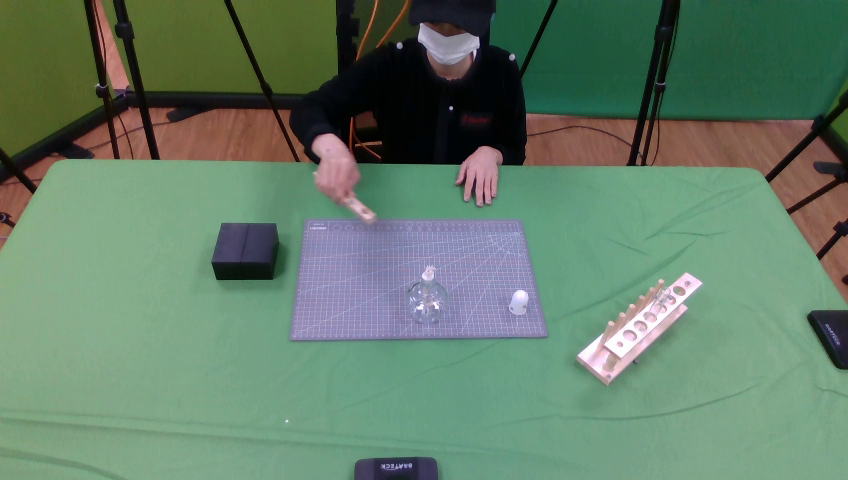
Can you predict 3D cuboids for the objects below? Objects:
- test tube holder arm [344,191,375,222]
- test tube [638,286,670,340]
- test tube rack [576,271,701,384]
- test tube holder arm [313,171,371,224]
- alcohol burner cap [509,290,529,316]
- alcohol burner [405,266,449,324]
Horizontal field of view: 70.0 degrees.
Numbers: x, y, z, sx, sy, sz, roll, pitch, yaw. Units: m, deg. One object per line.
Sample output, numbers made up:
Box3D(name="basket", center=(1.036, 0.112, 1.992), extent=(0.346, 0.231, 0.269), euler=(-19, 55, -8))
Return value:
Box3D(name="test tube holder arm", center=(-0.115, -0.059, 1.056), extent=(0.010, 0.015, 0.087), euler=(-34, 51, -24))
Box3D(name="test tube", center=(0.373, 0.122, 0.994), extent=(0.017, 0.151, 0.017), euler=(0, 51, 0))
Box3D(name="test tube rack", center=(0.373, 0.138, 1.047), extent=(0.242, 0.085, 0.066), euler=(-31, 56, -29))
Box3D(name="test tube holder arm", center=(-0.149, -0.078, 1.080), extent=(0.013, 0.015, 0.177), euler=(-34, 51, -23))
Box3D(name="alcohol burner cap", center=(0.171, 0.110, 1.086), extent=(0.034, 0.048, 0.033), euler=(2, 45, -2))
Box3D(name="alcohol burner", center=(0.005, 0.089, 1.043), extent=(0.078, 0.120, 0.077), euler=(1, 44, -1))
